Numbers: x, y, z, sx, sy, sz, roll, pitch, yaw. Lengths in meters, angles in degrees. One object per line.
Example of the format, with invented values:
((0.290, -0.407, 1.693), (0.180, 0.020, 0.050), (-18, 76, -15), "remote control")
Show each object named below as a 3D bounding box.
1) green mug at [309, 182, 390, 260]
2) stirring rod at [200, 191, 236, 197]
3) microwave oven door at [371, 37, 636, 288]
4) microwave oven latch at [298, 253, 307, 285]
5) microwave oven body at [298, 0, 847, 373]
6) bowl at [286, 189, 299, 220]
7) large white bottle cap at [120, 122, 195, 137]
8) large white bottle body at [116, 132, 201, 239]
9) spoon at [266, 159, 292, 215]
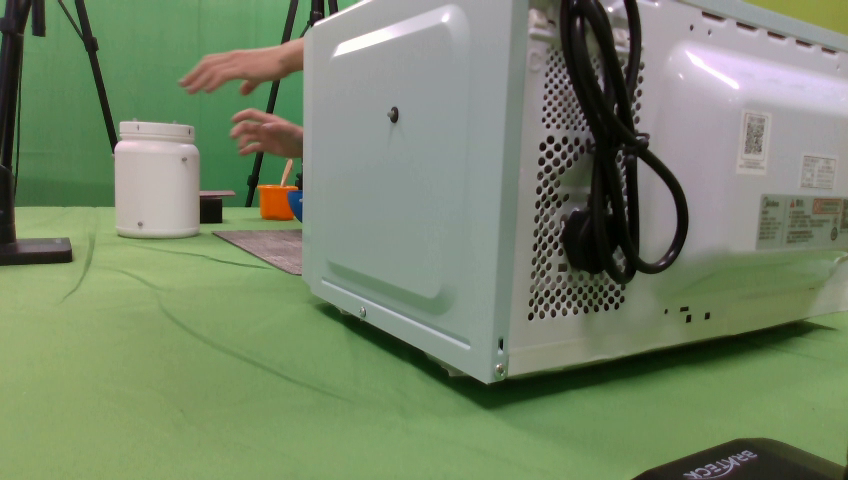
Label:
((-0.102, -0.029, 0.864), (0.126, 0.105, 0.092), (-4, 9, -40), "green mug")
((-0.465, -0.098, 1.283), (0.014, 0.006, 0.177), (42, 21, 17), "stirring rod")
((0.109, -0.080, 0.687), (0.358, 0.243, 0.039), (-2, 9, -33), "microwave oven door")
((-0.081, 0.027, 0.582), (0.079, 0.029, 0.030), (-1, 7, -33), "microwave oven latch")
((0.151, -0.055, 0.542), (0.444, 0.260, 0.324), (-2, 7, -33), "microwave oven body")
((-0.179, -0.051, 1.115), (0.151, 0.077, 0.151), (3, 8, 0), "bowl")
((-0.444, -0.183, 1.010), (0.115, 0.018, 0.115), (2, 6, 0), "large white bottle cap")
((-0.447, -0.099, 1.021), (0.131, 0.184, 0.130), (2, 7, 0), "large white bottle body")
((-0.334, -0.128, 1.424), (0.041, 0.193, 0.021), (1, -38, 6), "spoon")
